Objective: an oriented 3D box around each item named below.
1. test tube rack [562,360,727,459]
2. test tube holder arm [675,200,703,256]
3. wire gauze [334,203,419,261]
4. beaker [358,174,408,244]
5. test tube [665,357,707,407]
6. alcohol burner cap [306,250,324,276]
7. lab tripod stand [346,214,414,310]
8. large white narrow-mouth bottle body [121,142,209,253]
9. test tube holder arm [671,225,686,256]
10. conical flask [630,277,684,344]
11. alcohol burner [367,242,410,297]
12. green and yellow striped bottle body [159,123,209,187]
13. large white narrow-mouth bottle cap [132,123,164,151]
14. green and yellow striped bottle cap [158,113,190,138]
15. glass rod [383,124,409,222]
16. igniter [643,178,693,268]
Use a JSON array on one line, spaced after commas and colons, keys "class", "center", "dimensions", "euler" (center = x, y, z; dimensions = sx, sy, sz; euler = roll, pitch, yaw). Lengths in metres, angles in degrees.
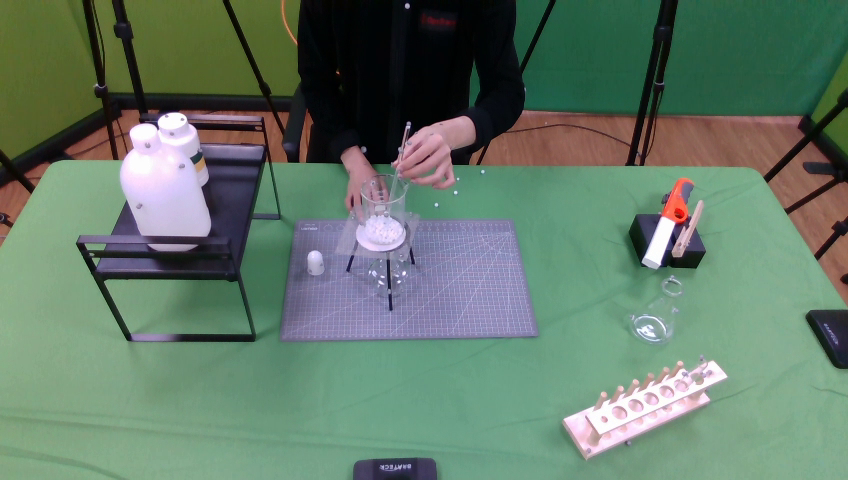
[{"class": "test tube rack", "center": [0.341, 0.247, 0.940], "dimensions": [0.243, 0.085, 0.066], "euler": [-16, 49, -18]}, {"class": "test tube holder arm", "center": [0.523, -0.025, 1.190], "dimensions": [0.013, 0.015, 0.178], "euler": [1, 36, 41]}, {"class": "wire gauze", "center": [-0.079, -0.013, 1.031], "dimensions": [0.121, 0.011, 0.124], "euler": [8, 48, 7]}, {"class": "beaker", "center": [-0.066, -0.050, 1.001], "dimensions": [0.084, 0.101, 0.073], "euler": [-18, 49, -20]}, {"class": "test tube", "center": [0.386, 0.215, 0.905], "dimensions": [0.017, 0.151, 0.017], "euler": [1, 52, -1]}, {"class": "alcohol burner cap", "center": [-0.204, 0.041, 1.125], "dimensions": [0.034, 0.048, 0.033], "euler": [2, 46, -2]}, {"class": "lab tripod stand", "center": [-0.075, 0.030, 1.082], "dimensions": [0.148, 0.132, 0.147], "euler": [1, 47, -1]}, {"class": "large white narrow-mouth bottle body", "center": [-0.378, -0.077, 0.875], "dimensions": [0.102, 0.195, 0.101], "euler": [3, 46, -3]}, {"class": "test tube holder arm", "center": [0.494, 0.001, 1.166], "dimensions": [0.010, 0.015, 0.087], "euler": [2, 36, 42]}, {"class": "conical flask", "center": [0.408, 0.117, 1.045], "dimensions": [0.075, 0.122, 0.075], "euler": [2, 46, -2]}, {"class": "alcohol burner", "center": [-0.064, 0.047, 1.080], "dimensions": [0.078, 0.120, 0.077], "euler": [1, 47, -1]}, {"class": "green and yellow striped bottle body", "center": [-0.395, -0.145, 0.989], "dimensions": [0.063, 0.120, 0.063], "euler": [2, 46, -2]}, {"class": "large white narrow-mouth bottle cap", "center": [-0.370, -0.138, 0.812], "dimensions": [0.038, 0.024, 0.037], "euler": [3, 46, -3]}, {"class": "green and yellow striped bottle cap", "center": [-0.393, -0.180, 0.951], "dimensions": [0.045, 0.020, 0.045], "euler": [2, 44, -2]}, {"class": "glass rod", "center": [-0.044, -0.098, 0.937], "dimensions": [0.008, 0.200, 0.008], "euler": [8, 46, -8]}, {"class": "igniter", "center": [0.488, -0.042, 1.205], "dimensions": [0.057, 0.025, 0.276], "euler": [30, 51, 11]}]
